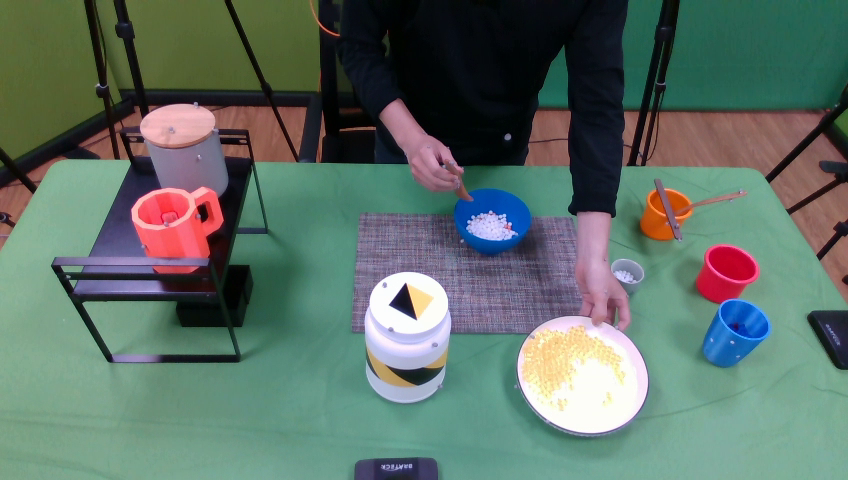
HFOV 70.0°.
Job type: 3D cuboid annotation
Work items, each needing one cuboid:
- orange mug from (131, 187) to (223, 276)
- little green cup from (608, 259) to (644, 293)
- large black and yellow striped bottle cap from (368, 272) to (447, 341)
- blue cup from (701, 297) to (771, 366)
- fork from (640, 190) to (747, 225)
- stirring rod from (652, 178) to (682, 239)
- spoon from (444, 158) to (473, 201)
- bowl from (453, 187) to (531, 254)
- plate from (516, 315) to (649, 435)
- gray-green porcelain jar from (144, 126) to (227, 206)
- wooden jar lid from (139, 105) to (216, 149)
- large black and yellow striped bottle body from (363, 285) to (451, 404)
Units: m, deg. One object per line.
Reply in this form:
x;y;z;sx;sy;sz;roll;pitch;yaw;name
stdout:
-0.354;-0.022;0.888;0.083;0.101;0.126;31;55;24;orange mug
0.379;0.070;1.147;0.061;0.039;0.061;2;46;-2;little green cup
-0.023;0.093;0.875;0.115;0.019;0.114;3;46;-3;large black and yellow striped bottle cap
0.519;0.162;1.025;0.093;0.101;0.092;3;45;-3;blue cup
0.533;-0.065;1.211;0.207;0.019;0.028;-22;29;38;fork
0.480;-0.066;1.203;0.014;0.006;0.175;4;46;-4;stirring rod
0.057;-0.106;1.048;0.041;0.194;0.021;36;83;20;spoon
0.128;-0.025;1.187;0.151;0.077;0.150;2;46;-2;bowl
0.254;0.218;0.981;0.209;0.038;0.208;-2;52;3;plate
-0.375;-0.126;0.966;0.106;0.127;0.105;2;46;-2;gray-green porcelain jar
-0.372;-0.169;0.920;0.108;0.021;0.107;4;44;-4;wooden jar lid
-0.027;0.153;0.935;0.131;0.185;0.130;2;46;-2;large black and yellow striped bottle body
